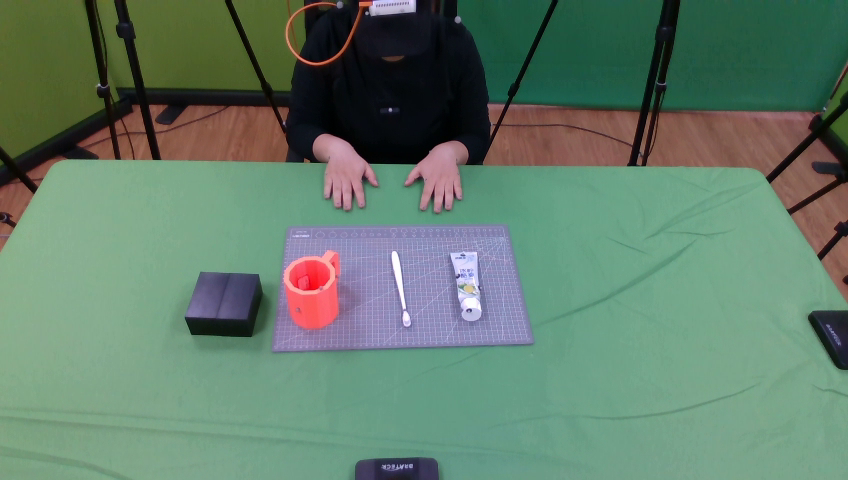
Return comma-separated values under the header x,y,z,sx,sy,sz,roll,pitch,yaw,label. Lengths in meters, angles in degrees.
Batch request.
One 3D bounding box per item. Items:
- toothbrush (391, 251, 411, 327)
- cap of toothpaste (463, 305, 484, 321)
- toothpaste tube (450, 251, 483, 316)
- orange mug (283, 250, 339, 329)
x,y,z,sx,sy,sz,roll,pitch,yaw,label
-0.044,0.085,1.112,0.014,0.017,0.180,-14,46,1,toothbrush
0.087,0.127,1.064,0.037,0.037,0.011,2,40,-2,cap of toothpaste
0.084,0.077,1.122,0.055,0.035,0.164,3,41,-8,toothpaste tube
-0.186,0.078,1.052,0.083,0.101,0.126,20,52,15,orange mug
